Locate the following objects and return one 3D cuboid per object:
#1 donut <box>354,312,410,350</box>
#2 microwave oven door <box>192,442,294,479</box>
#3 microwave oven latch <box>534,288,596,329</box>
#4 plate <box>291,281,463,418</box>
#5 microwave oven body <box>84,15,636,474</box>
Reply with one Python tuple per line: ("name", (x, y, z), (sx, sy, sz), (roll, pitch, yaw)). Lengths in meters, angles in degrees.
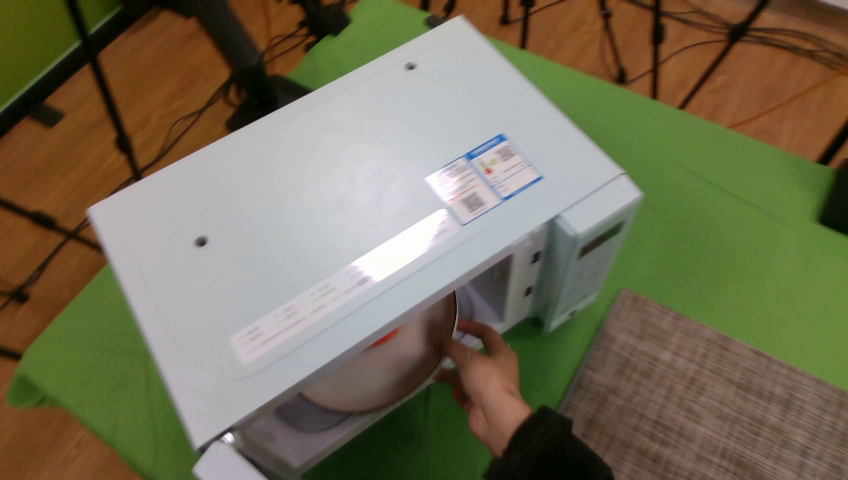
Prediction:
("donut", (-0.063, 0.075, 0.668), (0.099, 0.049, 0.098), (-2, 55, 4))
("microwave oven door", (-0.021, 0.306, 0.503), (0.353, 0.246, 0.039), (32, 67, 20))
("microwave oven latch", (0.174, 0.075, 0.741), (0.079, 0.030, 0.030), (-32, 64, -13))
("plate", (-0.059, 0.096, 0.665), (0.209, 0.038, 0.207), (-5, 56, 9))
("microwave oven body", (-0.062, 0.015, 0.678), (0.442, 0.262, 0.323), (-33, 64, -13))
